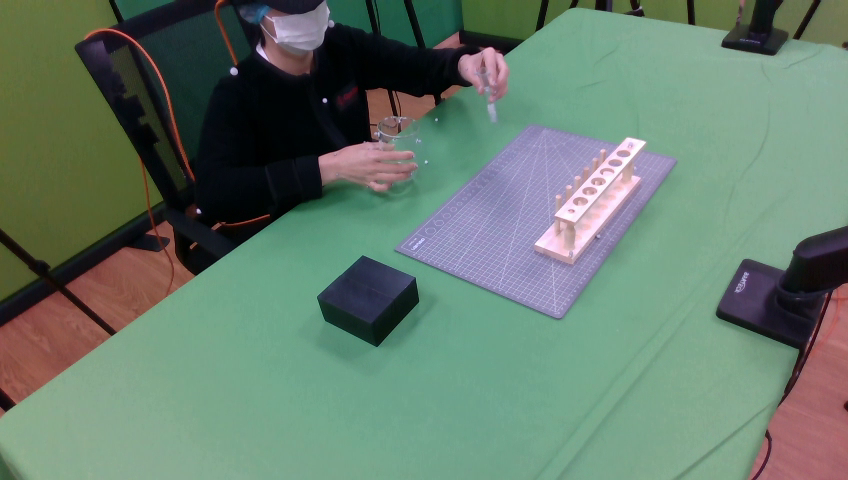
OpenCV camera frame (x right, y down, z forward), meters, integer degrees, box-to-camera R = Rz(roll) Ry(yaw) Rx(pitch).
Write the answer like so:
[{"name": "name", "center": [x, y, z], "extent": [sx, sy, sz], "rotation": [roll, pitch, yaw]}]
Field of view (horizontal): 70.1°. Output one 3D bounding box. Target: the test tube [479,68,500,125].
[{"name": "test tube", "center": [0.114, -0.244, 1.042], "extent": [0.017, 0.151, 0.017], "rotation": [-5, 67, 13]}]

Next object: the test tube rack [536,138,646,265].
[{"name": "test tube rack", "center": [0.268, -0.071, 0.964], "extent": [0.066, 0.085, 0.243], "rotation": [23, 49, 32]}]

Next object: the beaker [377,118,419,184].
[{"name": "beaker", "center": [-0.047, -0.159, 1.083], "extent": [0.074, 0.100, 0.083], "rotation": [1, 39, -2]}]
